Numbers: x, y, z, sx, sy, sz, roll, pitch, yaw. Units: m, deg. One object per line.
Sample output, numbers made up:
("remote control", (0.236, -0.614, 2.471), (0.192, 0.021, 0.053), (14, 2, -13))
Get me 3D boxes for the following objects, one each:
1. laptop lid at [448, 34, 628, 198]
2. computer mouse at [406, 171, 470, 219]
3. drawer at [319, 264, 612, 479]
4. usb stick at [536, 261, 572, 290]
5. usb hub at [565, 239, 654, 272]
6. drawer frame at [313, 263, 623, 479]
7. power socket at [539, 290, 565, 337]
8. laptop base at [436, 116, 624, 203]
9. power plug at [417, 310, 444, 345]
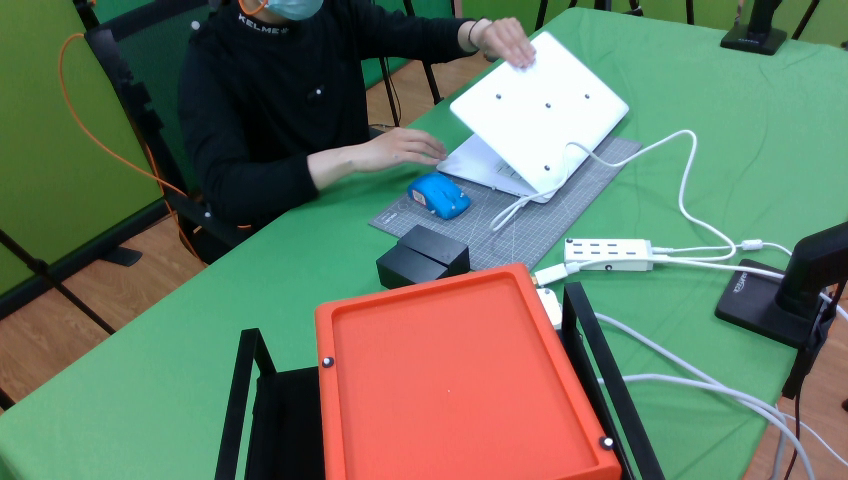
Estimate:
("laptop lid", (0.224, -0.244, 1.113), (0.241, 0.013, 0.358), (44, 54, 5))
("computer mouse", (0.024, -0.082, 1.049), (0.063, 0.041, 0.116), (-30, 49, -27))
("drawer", (0.020, 0.129, 0.497), (0.195, 0.073, 0.210), (-11, 41, -5))
("usb stick", (0.183, 0.055, 0.875), (0.059, 0.027, 0.021), (-32, 88, -5))
("usb hub", (0.275, 0.022, 0.906), (0.125, 0.025, 0.049), (1, 41, 9))
("drawer frame", (0.021, 0.130, 0.493), (0.202, 0.083, 0.212), (-11, 41, -6))
("power socket", (0.081, 0.112, 0.822), (0.227, 0.033, 0.072), (-6, 41, 0))
("laptop base", (0.214, -0.192, 1.172), (0.233, 0.023, 0.355), (19, 46, 32))
("power plug", (0.007, 0.122, 0.785), (0.035, 0.053, 0.072), (0, 39, 7))
